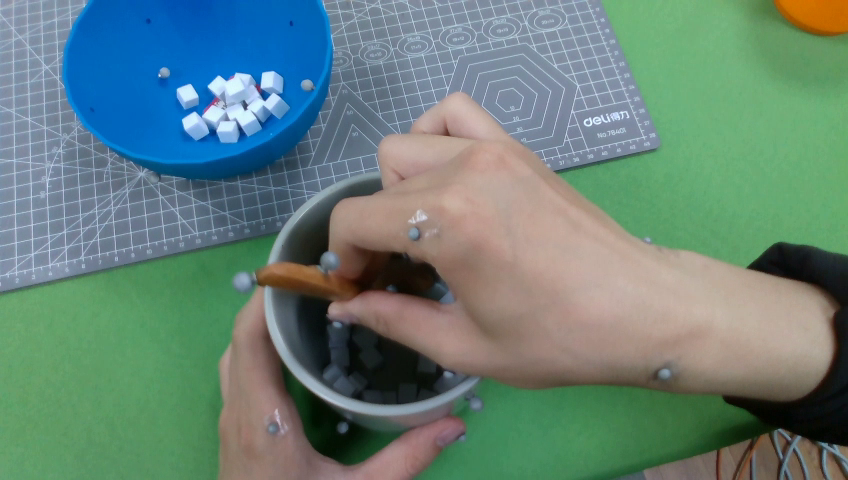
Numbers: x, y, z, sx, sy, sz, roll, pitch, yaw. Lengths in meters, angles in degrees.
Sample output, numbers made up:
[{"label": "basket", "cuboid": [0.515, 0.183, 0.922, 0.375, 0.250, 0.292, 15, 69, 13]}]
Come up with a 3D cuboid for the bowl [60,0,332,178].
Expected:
[{"label": "bowl", "cuboid": [-0.127, -0.096, 0.375, 0.151, 0.077, 0.150, 0, 69, -1]}]

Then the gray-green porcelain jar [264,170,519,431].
[{"label": "gray-green porcelain jar", "cuboid": [-0.013, 0.040, 0.305, 0.106, 0.127, 0.105, 0, 69, 0]}]
